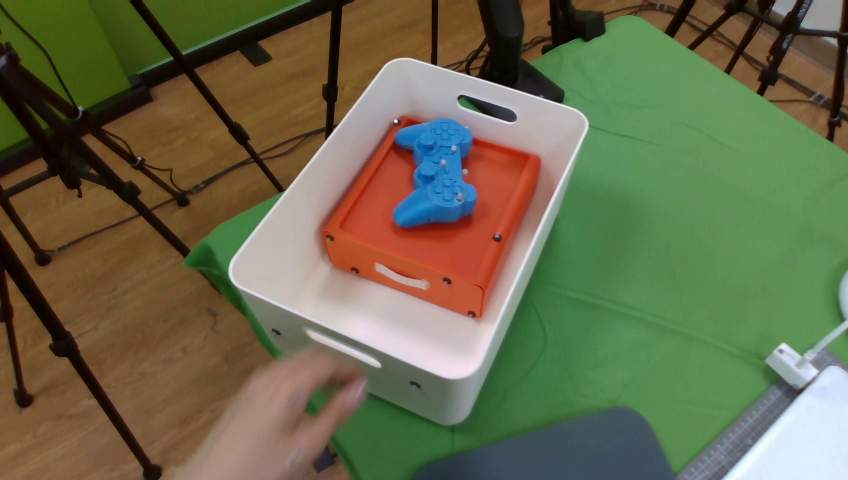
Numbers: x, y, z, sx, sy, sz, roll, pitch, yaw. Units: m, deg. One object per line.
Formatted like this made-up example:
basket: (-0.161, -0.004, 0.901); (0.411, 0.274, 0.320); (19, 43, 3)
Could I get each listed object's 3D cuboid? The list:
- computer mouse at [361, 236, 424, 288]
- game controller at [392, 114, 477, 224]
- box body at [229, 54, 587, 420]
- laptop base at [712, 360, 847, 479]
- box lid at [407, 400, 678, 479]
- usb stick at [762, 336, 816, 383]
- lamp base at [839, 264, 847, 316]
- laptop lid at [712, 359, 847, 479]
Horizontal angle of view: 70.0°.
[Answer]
computer mouse: (-0.037, 0.021, 0.724); (0.063, 0.041, 0.116); (-4, 16, 8)
game controller: (0.011, -0.090, 0.719); (0.097, 0.052, 0.153); (2, 55, -3)
box body: (0.000, -0.013, 0.686); (0.253, 0.162, 0.362); (21, 58, 14)
laptop base: (0.463, 0.304, 0.555); (0.235, 0.023, 0.351); (-36, 63, -18)
box lid: (0.150, 0.339, 0.537); (0.264, 0.015, 0.367); (-14, 58, -8)
usb stick: (0.400, 0.135, 0.655); (0.021, 0.027, 0.058); (-28, 63, -24)
lamp base: (0.571, 0.023, 0.649); (0.160, 0.182, 0.178); (11, 53, 8)
laptop lid: (0.460, 0.298, 0.544); (0.241, 0.013, 0.353); (-34, 62, -18)
